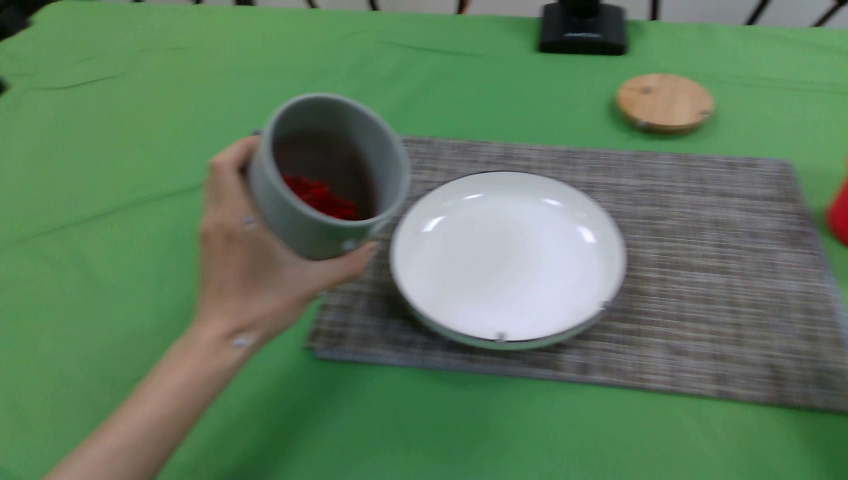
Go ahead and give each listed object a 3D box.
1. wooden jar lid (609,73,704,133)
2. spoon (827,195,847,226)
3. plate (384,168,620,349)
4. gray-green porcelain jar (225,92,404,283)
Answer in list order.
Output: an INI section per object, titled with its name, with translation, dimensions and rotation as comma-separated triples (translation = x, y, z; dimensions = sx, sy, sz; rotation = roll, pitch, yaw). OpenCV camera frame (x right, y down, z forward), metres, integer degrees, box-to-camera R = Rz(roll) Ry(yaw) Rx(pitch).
[wooden jar lid]
translation = 0.276, -0.163, 0.723
dimensions = 0.108, 0.021, 0.107
rotation = -1, 48, 2
[spoon]
translation = 0.461, -0.057, 0.528
dimensions = 0.193, 0.022, 0.041
rotation = -30, 32, 39
[plate]
translation = 0.069, 0.016, 0.552
dimensions = 0.207, 0.039, 0.205
rotation = -1, 47, 2
[gray-green porcelain jar]
translation = -0.089, -0.031, 0.459
dimensions = 0.106, 0.126, 0.105
rotation = 14, 59, -24
